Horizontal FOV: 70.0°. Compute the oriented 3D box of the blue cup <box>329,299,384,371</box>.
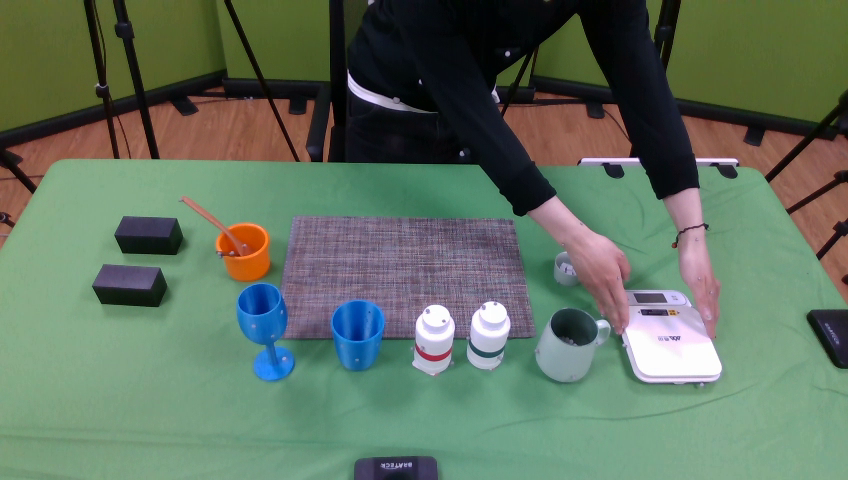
[{"bbox_3d":[-0.108,0.159,0.978,0.093,0.101,0.092,3,46,-3],"label":"blue cup"}]

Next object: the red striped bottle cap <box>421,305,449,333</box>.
[{"bbox_3d":[0.018,0.122,0.938,0.044,0.018,0.044,3,44,-2],"label":"red striped bottle cap"}]

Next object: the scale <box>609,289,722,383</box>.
[{"bbox_3d":[0.419,0.159,1.066,0.149,0.032,0.199,0,45,-4],"label":"scale"}]

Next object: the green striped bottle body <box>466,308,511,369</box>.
[{"bbox_3d":[0.106,0.154,0.987,0.063,0.120,0.063,2,46,-2],"label":"green striped bottle body"}]

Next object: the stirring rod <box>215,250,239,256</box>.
[{"bbox_3d":[-0.339,0.024,1.059,0.014,0.176,0.006,16,86,-6],"label":"stirring rod"}]

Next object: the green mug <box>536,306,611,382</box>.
[{"bbox_3d":[0.250,0.167,0.996,0.125,0.105,0.092,-16,49,-18],"label":"green mug"}]

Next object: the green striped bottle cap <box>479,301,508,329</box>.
[{"bbox_3d":[0.109,0.118,0.949,0.044,0.020,0.044,2,45,-1],"label":"green striped bottle cap"}]

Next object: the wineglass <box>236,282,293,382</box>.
[{"bbox_3d":[-0.243,0.143,0.934,0.074,0.173,0.073,2,46,-2],"label":"wineglass"}]

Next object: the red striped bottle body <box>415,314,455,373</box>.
[{"bbox_3d":[0.016,0.158,0.977,0.063,0.120,0.062,1,46,-1],"label":"red striped bottle body"}]

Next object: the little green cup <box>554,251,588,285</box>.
[{"bbox_3d":[0.276,0.055,1.151,0.061,0.039,0.061,2,46,-2],"label":"little green cup"}]

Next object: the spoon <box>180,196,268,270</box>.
[{"bbox_3d":[-0.359,-0.013,1.094,0.021,0.194,0.041,-28,26,31],"label":"spoon"}]
